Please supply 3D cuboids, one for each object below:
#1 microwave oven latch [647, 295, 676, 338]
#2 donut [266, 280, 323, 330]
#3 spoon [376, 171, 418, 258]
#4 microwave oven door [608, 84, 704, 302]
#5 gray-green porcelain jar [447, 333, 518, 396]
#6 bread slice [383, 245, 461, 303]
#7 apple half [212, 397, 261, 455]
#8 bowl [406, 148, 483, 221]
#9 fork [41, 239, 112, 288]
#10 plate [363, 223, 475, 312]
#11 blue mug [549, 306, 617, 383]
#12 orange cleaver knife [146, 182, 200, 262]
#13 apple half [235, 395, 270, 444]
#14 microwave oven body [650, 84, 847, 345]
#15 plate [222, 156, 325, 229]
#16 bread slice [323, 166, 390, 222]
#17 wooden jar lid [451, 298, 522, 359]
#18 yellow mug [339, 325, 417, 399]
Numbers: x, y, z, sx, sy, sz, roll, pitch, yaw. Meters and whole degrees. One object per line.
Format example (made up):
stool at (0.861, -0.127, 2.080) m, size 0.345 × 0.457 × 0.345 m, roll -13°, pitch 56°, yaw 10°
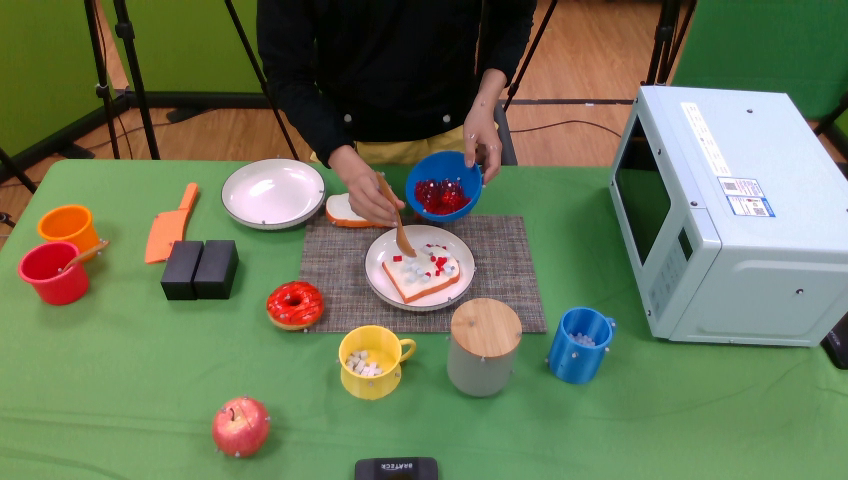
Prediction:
microwave oven latch at (0.413, 0.133, 1.060) m, size 0.030 × 0.029 × 0.078 m, roll 4°, pitch 46°, yaw 1°
donut at (-0.223, 0.113, 1.051) m, size 0.099 × 0.048 × 0.098 m, roll 2°, pitch 45°, yaw -2°
spoon at (-0.048, -0.039, 1.022) m, size 0.041 × 0.195 × 0.021 m, roll 23°, pitch 53°, yaw 41°
microwave oven door at (0.424, -0.096, 1.138) m, size 0.039 × 0.245 × 0.353 m, roll 2°, pitch 47°, yaw -1°
gray-green porcelain jar at (0.091, 0.178, 0.960) m, size 0.106 × 0.127 × 0.105 m, roll 2°, pitch 46°, yaw -2°
bread slice at (0.001, 0.056, 1.130) m, size 0.131 × 0.019 × 0.104 m, roll -22°, pitch 53°, yaw -18°
apple half at (-0.276, 0.276, 0.877) m, size 0.053 × 0.075 × 0.080 m, roll -29°, pitch 58°, yaw -21°
bowl at (0.047, -0.094, 1.172) m, size 0.151 × 0.077 × 0.150 m, roll -8°, pitch 61°, yaw 14°
fork at (-0.591, 0.040, 1.028) m, size 0.207 × 0.019 × 0.028 m, roll -27°, pitch 37°, yaw 29°
plate at (-0.009, 0.054, 1.126) m, size 0.208 × 0.039 × 0.206 m, roll 2°, pitch 47°, yaw -2°
blue mug at (0.269, 0.167, 0.997) m, size 0.116 × 0.106 × 0.082 m, roll -19°, pitch 51°, yaw -21°
orange cleaver knife at (-0.494, -0.039, 1.198) m, size 0.077 × 0.012 × 0.210 m, roll -3°, pitch 48°, yaw 2°
apple half at (-0.245, 0.260, 0.893) m, size 0.033 × 0.082 × 0.081 m, roll -29°, pitch 55°, yaw -22°
microwave oven body at (0.569, -0.054, 1.116) m, size 0.326 × 0.261 × 0.439 m, roll 2°, pitch 46°, yaw -1°
plate at (-0.308, -0.095, 1.251) m, size 0.209 × 0.038 × 0.208 m, roll 3°, pitch 47°, yaw -3°
bread slice at (-0.140, -0.092, 1.224) m, size 0.134 × 0.018 × 0.106 m, roll -19°, pitch 51°, yaw 6°
wooden jar lid at (0.093, 0.135, 0.914) m, size 0.108 × 0.021 × 0.107 m, roll 2°, pitch 48°, yaw -3°
yellow mug at (-0.072, 0.190, 0.978) m, size 0.131 × 0.064 × 0.099 m, roll -17°, pitch 50°, yaw -20°
